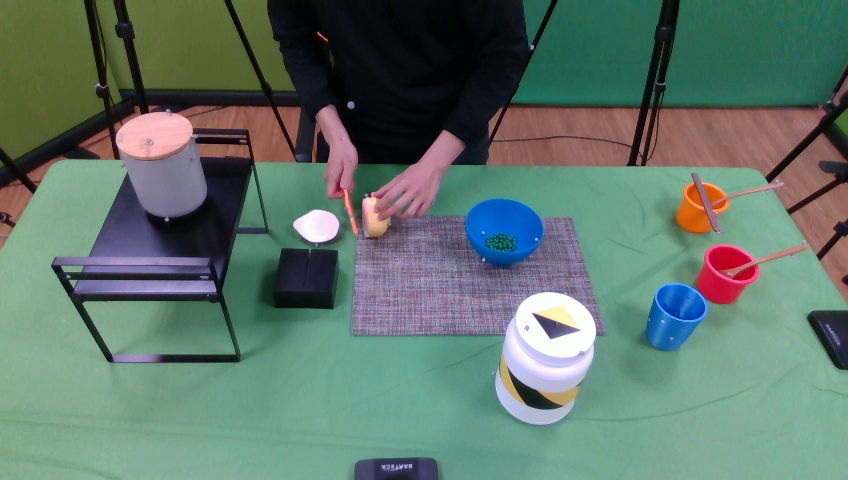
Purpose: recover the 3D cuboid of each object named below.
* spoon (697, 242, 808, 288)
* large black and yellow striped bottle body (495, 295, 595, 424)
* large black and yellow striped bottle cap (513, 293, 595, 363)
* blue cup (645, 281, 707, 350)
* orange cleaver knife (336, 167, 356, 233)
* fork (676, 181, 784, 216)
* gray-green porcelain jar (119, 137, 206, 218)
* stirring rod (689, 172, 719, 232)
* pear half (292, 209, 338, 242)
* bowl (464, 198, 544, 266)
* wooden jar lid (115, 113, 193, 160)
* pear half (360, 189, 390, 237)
[{"bbox_3d":[0.601,0.045,1.115,0.194,0.022,0.041,-29,35,30],"label":"spoon"},{"bbox_3d":[0.183,0.182,0.923,0.131,0.185,0.130,2,46,-2],"label":"large black and yellow striped bottle body"},{"bbox_3d":[0.186,0.123,0.863,0.115,0.019,0.114,3,45,-3],"label":"large black and yellow striped bottle cap"},{"bbox_3d":[0.425,0.136,1.042,0.093,0.101,0.092,1,45,-1],"label":"blue cup"},{"bbox_3d":[-0.152,-0.081,1.183,0.012,0.077,0.210,-15,30,-6],"label":"orange cleaver knife"},{"bbox_3d":[0.617,-0.083,1.235,0.019,0.207,0.028,55,40,-15],"label":"fork"},{"bbox_3d":[-0.403,-0.106,0.946,0.106,0.127,0.105,3,46,-2],"label":"gray-green porcelain jar"},{"bbox_3d":[0.565,-0.080,1.224,0.014,0.006,0.175,3,46,1],"label":"stirring rod"},{"bbox_3d":[-0.214,-0.024,1.195,0.088,0.031,0.070,6,57,1],"label":"pear half"},{"bbox_3d":[0.149,-0.003,1.168,0.151,0.077,0.150,2,46,-2],"label":"bowl"},{"bbox_3d":[-0.399,-0.151,0.900,0.108,0.021,0.107,3,46,-3],"label":"wooden jar lid"},{"bbox_3d":[-0.095,-0.058,1.180,0.056,0.110,0.076,-13,52,-17],"label":"pear half"}]
